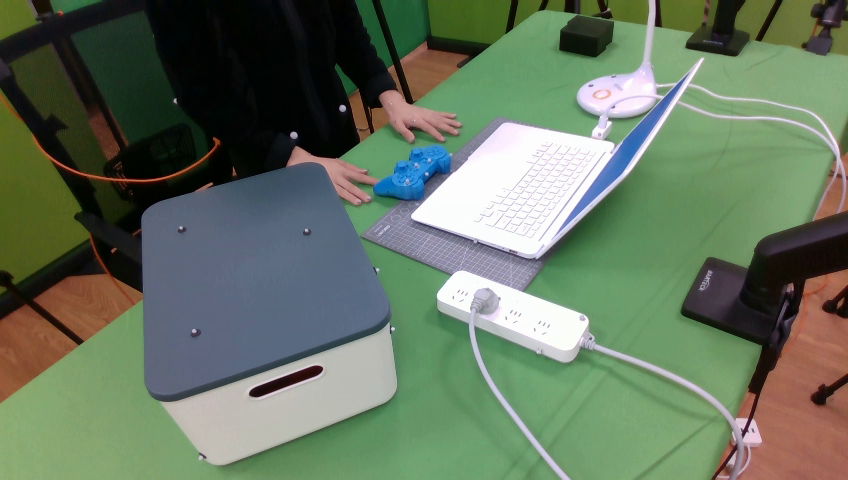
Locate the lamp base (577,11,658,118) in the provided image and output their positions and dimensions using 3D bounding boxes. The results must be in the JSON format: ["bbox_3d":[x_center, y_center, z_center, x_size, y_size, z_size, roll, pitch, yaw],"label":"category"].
[{"bbox_3d":[0.406,-0.363,1.222,0.180,0.181,0.159,-20,42,-18],"label":"lamp base"}]

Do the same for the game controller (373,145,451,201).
[{"bbox_3d":[-0.018,-0.130,1.111,0.096,0.052,0.155,22,49,26],"label":"game controller"}]

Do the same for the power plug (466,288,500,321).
[{"bbox_3d":[0.072,0.093,0.813,0.035,0.053,0.073,30,54,35],"label":"power plug"}]

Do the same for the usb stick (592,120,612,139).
[{"bbox_3d":[0.335,-0.203,1.149,0.021,0.027,0.059,26,53,26],"label":"usb stick"}]

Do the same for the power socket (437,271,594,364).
[{"bbox_3d":[0.118,0.102,0.830,0.225,0.033,0.072,20,48,28],"label":"power socket"}]

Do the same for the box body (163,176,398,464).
[{"bbox_3d":[-0.205,0.080,0.802,0.255,0.161,0.361,-18,41,-13],"label":"box body"}]

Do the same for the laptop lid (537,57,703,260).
[{"bbox_3d":[0.304,-0.127,0.928,0.013,0.241,0.357,40,51,4],"label":"laptop lid"}]

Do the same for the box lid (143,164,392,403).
[{"bbox_3d":[-0.212,0.025,0.753,0.264,0.015,0.368,-18,40,-13],"label":"box lid"}]

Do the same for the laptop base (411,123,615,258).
[{"bbox_3d":[0.167,-0.102,1.074,0.234,0.023,0.355,16,45,30],"label":"laptop base"}]
